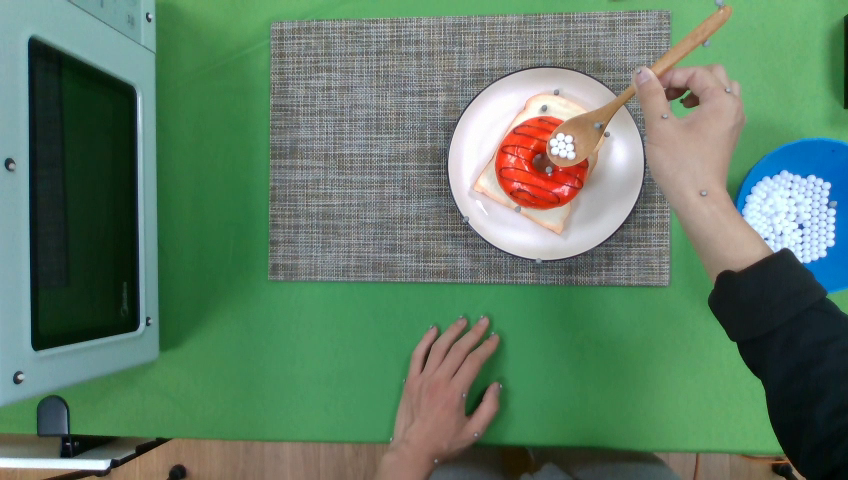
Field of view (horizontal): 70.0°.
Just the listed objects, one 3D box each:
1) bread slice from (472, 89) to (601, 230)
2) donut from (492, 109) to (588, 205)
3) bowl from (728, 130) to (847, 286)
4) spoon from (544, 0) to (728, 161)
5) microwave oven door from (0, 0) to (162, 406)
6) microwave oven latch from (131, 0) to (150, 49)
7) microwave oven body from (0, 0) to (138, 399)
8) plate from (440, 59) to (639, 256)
[{"bbox_3d":[0.126,-0.094,0.658,0.107,0.018,0.134,25,94,5],"label":"bread slice"},{"bbox_3d":[0.119,-0.085,0.628,0.099,0.048,0.099,0,89,6],"label":"donut"},{"bbox_3d":[0.376,-0.029,0.615,0.151,0.077,0.151,0,89,5],"label":"bowl"},{"bbox_3d":[0.178,-0.134,0.527,0.041,0.022,0.194,57,134,9],"label":"spoon"},{"bbox_3d":[-0.337,-0.043,0.584,0.039,0.244,0.355,-2,89,6],"label":"microwave oven door"},{"bbox_3d":[-0.330,-0.259,0.686,0.030,0.029,0.079,-1,90,5],"label":"microwave oven latch"},{"bbox_3d":[-0.483,-0.080,0.603,0.326,0.260,0.441,-2,90,5],"label":"microwave oven body"},{"bbox_3d":[0.122,-0.087,0.656,0.207,0.039,0.207,0,90,6],"label":"plate"}]
